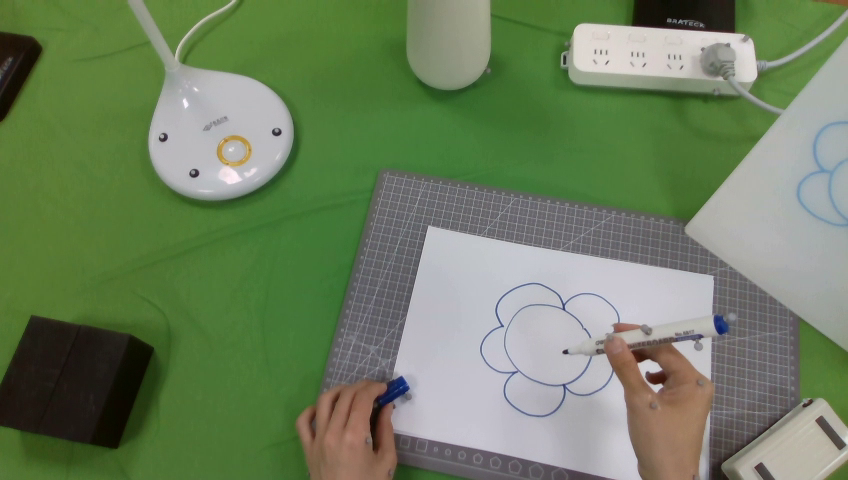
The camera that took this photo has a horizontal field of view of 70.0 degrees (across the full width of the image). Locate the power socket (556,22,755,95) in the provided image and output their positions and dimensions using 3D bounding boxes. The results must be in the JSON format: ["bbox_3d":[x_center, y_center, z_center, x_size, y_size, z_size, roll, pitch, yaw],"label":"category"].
[{"bbox_3d":[0.271,-0.213,0.711,0.227,0.033,0.071,5,69,3],"label":"power socket"}]

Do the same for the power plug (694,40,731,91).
[{"bbox_3d":[0.318,-0.190,0.676,0.035,0.053,0.072,15,75,7],"label":"power plug"}]

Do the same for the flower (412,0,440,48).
[{"bbox_3d":[0.036,-0.273,0.561,0.044,0.362,0.038,-31,87,-20],"label":"flower"}]

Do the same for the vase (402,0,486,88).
[{"bbox_3d":[0.020,-0.253,0.642,0.098,0.201,0.097,-1,67,2],"label":"vase"}]

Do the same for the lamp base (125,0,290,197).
[{"bbox_3d":[-0.242,-0.158,0.617,0.160,0.181,0.178,-42,70,-15],"label":"lamp base"}]

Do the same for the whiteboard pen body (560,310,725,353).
[{"bbox_3d":[0.168,0.077,0.485,0.017,0.140,0.017,20,61,-40],"label":"whiteboard pen body"}]

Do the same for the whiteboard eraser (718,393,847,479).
[{"bbox_3d":[0.321,0.188,0.537,0.113,0.042,0.055,-31,69,-11],"label":"whiteboard eraser"}]

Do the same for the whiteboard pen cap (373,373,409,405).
[{"bbox_3d":[-0.031,0.142,0.577,0.033,0.018,0.018,-33,70,-7],"label":"whiteboard pen cap"}]

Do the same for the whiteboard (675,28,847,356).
[{"bbox_3d":[0.422,-0.070,0.536,0.216,0.307,0.144,41,53,17],"label":"whiteboard"}]
